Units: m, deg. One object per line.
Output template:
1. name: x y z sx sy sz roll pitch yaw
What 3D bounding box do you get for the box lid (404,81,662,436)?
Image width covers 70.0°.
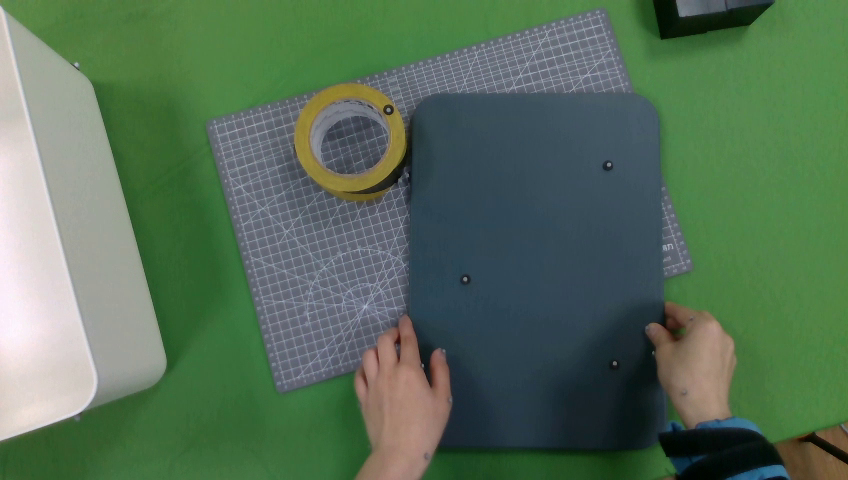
1. box lid: 0.111 0.013 0.629 0.263 0.015 0.370 0 86 0

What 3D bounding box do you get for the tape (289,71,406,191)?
1. tape: -0.076 -0.108 0.620 0.117 0.053 0.116 0 86 1

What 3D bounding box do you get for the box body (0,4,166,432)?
1. box body: -0.425 -0.001 0.560 0.254 0.160 0.363 -18 85 -2
